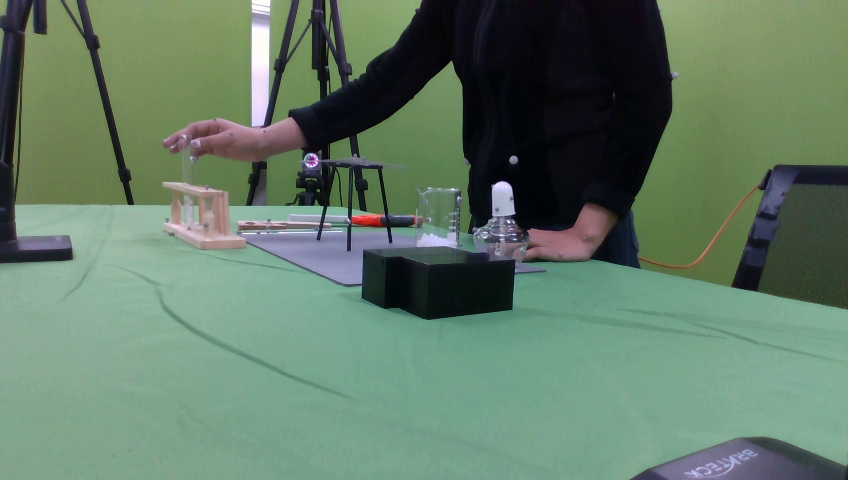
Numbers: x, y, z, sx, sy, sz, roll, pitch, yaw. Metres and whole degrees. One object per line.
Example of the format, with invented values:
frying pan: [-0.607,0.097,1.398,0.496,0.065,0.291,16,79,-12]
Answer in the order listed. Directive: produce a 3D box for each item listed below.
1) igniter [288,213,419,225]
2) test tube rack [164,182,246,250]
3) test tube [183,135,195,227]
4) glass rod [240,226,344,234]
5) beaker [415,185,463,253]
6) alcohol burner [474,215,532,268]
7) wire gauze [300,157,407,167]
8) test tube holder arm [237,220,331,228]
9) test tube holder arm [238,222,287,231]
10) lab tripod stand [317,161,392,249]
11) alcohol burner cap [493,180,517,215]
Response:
igniter: [-0.145,-0.044,1.278,0.278,0.025,0.057,-1,-2,-21]
test tube rack: [-0.361,-0.044,0.982,0.067,0.085,0.241,-3,9,-34]
test tube: [-0.382,-0.096,0.983,0.017,0.150,0.017,0,3,0]
glass rod: [-0.239,-0.020,1.118,0.201,0.008,0.008,-4,9,-33]
beaker: [0.020,-0.033,0.937,0.073,0.100,0.084,7,10,36]
alcohol burner: [0.107,-0.022,0.818,0.078,0.119,0.078,1,9,0]
wire gauze: [-0.112,-0.126,0.958,0.121,0.011,0.126,11,11,41]
test tube holder arm: [-0.261,-0.029,1.140,0.179,0.015,0.013,-2,42,-33]
test tube holder arm: [-0.297,-0.024,1.112,0.088,0.015,0.010,-1,41,-32]
lab tripod stand: [-0.111,-0.059,0.963,0.148,0.131,0.148,4,8,0]
alcohol burner cap: [0.107,-0.057,0.812,0.034,0.048,0.034,-6,11,2]
